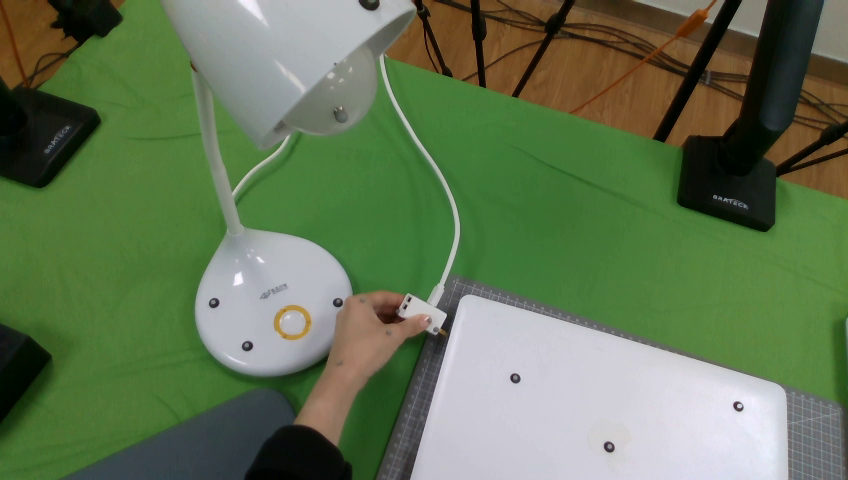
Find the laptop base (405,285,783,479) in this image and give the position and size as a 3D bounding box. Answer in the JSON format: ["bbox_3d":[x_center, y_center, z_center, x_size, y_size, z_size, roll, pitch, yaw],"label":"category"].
[{"bbox_3d":[0.176,0.193,0.599,0.354,0.023,0.234,16,63,3],"label":"laptop base"}]

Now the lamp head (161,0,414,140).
[{"bbox_3d":[-0.084,-0.129,0.310,0.123,0.112,0.112,46,63,-7],"label":"lamp head"}]

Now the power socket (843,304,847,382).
[{"bbox_3d":[0.495,0.160,0.645,0.072,0.033,0.225,18,59,3],"label":"power socket"}]

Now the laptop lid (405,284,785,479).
[{"bbox_3d":[0.176,0.189,0.587,0.356,0.013,0.240,17,62,4],"label":"laptop lid"}]

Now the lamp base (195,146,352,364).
[{"bbox_3d":[-0.159,0.007,0.575,0.160,0.181,0.178,-38,67,-24],"label":"lamp base"}]

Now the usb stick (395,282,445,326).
[{"bbox_3d":[0.001,0.070,0.633,0.059,0.021,0.027,35,83,-24],"label":"usb stick"}]

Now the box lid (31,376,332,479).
[{"bbox_3d":[-0.170,0.315,0.494,0.263,0.015,0.368,-24,66,-18],"label":"box lid"}]

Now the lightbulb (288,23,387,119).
[{"bbox_3d":[-0.055,-0.115,0.307,0.059,0.059,0.108,-20,103,-17],"label":"lightbulb"}]
